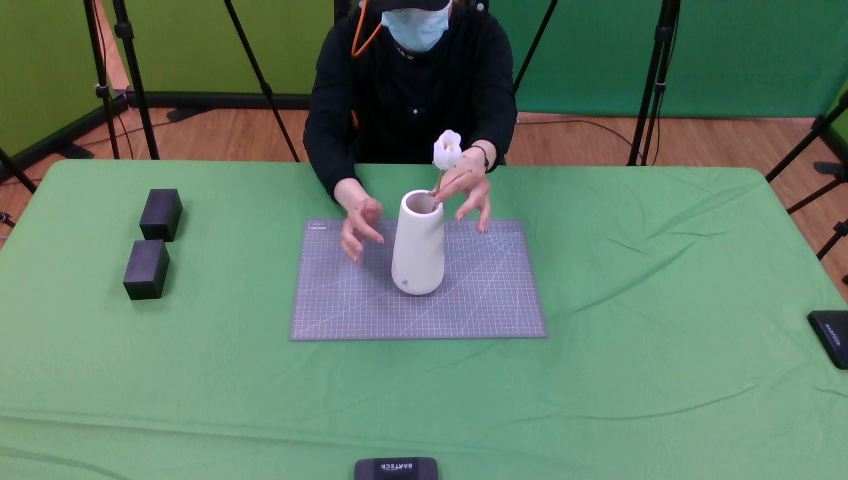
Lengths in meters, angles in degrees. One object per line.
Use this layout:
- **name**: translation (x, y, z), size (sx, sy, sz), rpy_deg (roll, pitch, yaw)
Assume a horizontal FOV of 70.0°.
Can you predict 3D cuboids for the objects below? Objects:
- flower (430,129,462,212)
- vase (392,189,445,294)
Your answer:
- **flower**: translation (0.014, -0.051, 0.997), size (0.038, 0.363, 0.044), rpy_deg (-12, 63, -15)
- **vase**: translation (-0.006, 0.006, 1.060), size (0.098, 0.201, 0.097), rpy_deg (2, 48, -2)
